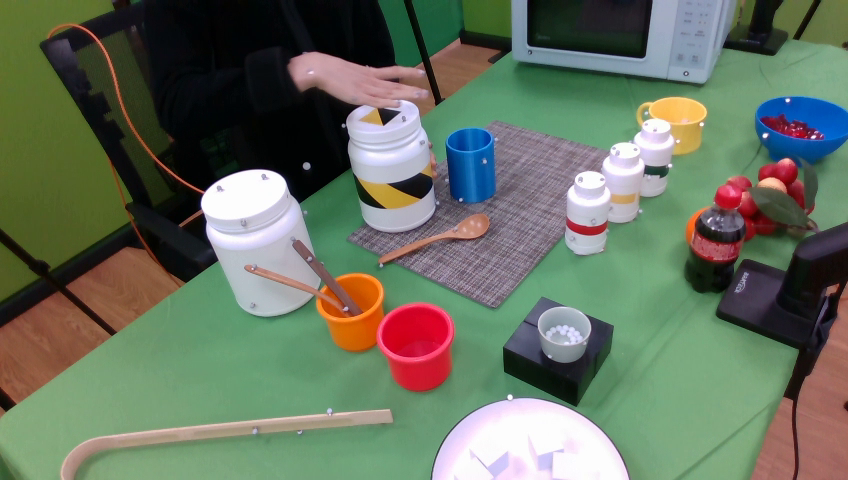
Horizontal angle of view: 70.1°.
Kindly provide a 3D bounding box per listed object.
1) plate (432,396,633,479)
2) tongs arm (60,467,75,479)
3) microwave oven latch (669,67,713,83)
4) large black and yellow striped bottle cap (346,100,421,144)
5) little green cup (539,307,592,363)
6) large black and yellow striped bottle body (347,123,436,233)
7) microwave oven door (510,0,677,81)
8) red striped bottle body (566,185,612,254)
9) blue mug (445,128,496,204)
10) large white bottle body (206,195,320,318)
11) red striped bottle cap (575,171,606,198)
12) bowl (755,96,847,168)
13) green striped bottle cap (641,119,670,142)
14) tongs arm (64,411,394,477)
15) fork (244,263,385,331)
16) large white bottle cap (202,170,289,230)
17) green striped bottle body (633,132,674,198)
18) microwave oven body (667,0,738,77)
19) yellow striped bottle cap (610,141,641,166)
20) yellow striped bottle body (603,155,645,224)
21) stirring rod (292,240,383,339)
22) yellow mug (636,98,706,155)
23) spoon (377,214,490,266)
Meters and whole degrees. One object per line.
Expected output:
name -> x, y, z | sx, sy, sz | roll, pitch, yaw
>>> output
plate -> 0.112, 0.261, 0.634 | 0.209, 0.038, 0.208 | -5, 40, 4
tongs arm -> -0.239, 0.301, 0.648 | 0.386, 0.028, 0.028 | 6, 49, 16
microwave oven latch -> 0.556, -0.349, 1.261 | 0.078, 0.029, 0.030 | 16, 46, 27
large black and yellow striped bottle cap -> -0.063, -0.184, 0.936 | 0.115, 0.019, 0.114 | -7, 36, 5
little green cup -> 0.168, 0.115, 0.721 | 0.061, 0.039, 0.061 | -4, 42, 4
large black and yellow striped bottle body -> -0.052, -0.118, 0.992 | 0.131, 0.185, 0.130 | -4, 40, 4
microwave oven door -> 0.354, -0.478, 1.290 | 0.353, 0.245, 0.039 | 15, 45, 25
red striped bottle body -> 0.248, -0.041, 0.910 | 0.063, 0.120, 0.062 | -4, 41, 4
blue mug -> 0.083, -0.139, 1.058 | 0.082, 0.106, 0.116 | -2, 40, 7
large white bottle body -> -0.233, 0.008, 0.876 | 0.130, 0.185, 0.130 | -4, 40, 4
red striped bottle cap -> 0.242, -0.081, 0.876 | 0.044, 0.018, 0.044 | -5, 43, 5
bowl -> 0.645, -0.177, 1.041 | 0.151, 0.077, 0.150 | -5, 40, 4
green striped bottle cap -> 0.371, -0.175, 0.968 | 0.044, 0.020, 0.044 | -5, 42, 5
tongs arm -> -0.228, 0.241, 0.715 | 0.385, 0.026, 0.050 | -5, 43, 4
fork -> -0.141, 0.077, 0.807 | 0.209, 0.018, 0.028 | 30, 44, -24
large white bottle cap -> -0.242, -0.057, 0.822 | 0.115, 0.018, 0.114 | -4, 40, 4
green striped bottle body -> 0.376, -0.135, 1.001 | 0.063, 0.120, 0.063 | -5, 40, 5
microwave oven body -> 0.462, -0.552, 1.369 | 0.439, 0.261, 0.326 | 15, 45, 26
yellow striped bottle cap -> 0.308, -0.131, 0.925 | 0.044, 0.019, 0.044 | -4, 46, 4
yellow striped bottle body -> 0.314, -0.090, 0.957 | 0.063, 0.121, 0.062 | -4, 40, 4
stirring rod -> -0.119, 0.068, 0.826 | 0.176, 0.006, 0.014 | 49, 59, -4
yellow mug -> 0.453, -0.217, 1.128 | 0.100, 0.064, 0.129 | -34, 46, -27
spoon -> 0.015, 0.002, 0.966 | 0.194, 0.022, 0.041 | -19, 63, -12
